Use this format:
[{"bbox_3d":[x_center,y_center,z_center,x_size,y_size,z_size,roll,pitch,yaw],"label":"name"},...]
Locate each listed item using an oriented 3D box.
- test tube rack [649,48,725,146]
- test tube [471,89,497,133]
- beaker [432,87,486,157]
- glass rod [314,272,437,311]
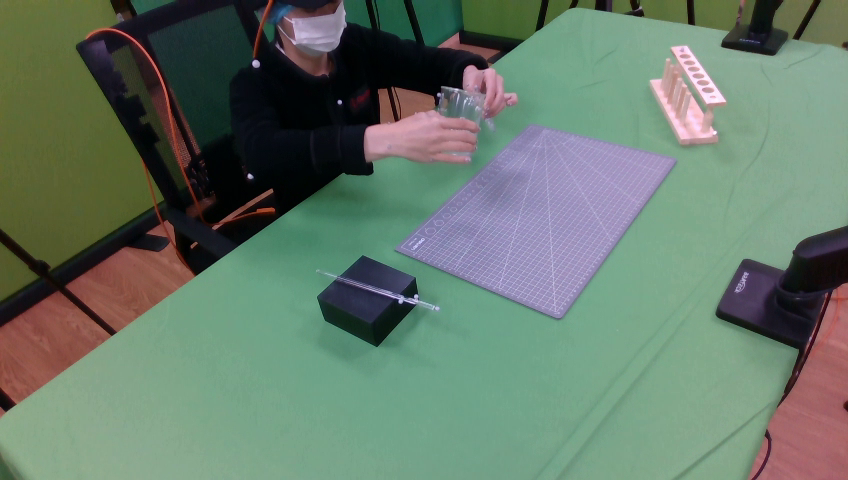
[{"bbox_3d":[0.508,-0.285,1.186,0.067,0.085,0.241,-4,40,6],"label":"test tube rack"},{"bbox_3d":[0.108,-0.226,1.071,0.017,0.151,0.017,-5,74,17],"label":"test tube"},{"bbox_3d":[0.055,-0.189,0.973,0.073,0.100,0.084,18,17,23],"label":"beaker"},{"bbox_3d":[-0.072,0.069,0.837,0.198,0.008,0.008,14,44,24],"label":"glass rod"}]
